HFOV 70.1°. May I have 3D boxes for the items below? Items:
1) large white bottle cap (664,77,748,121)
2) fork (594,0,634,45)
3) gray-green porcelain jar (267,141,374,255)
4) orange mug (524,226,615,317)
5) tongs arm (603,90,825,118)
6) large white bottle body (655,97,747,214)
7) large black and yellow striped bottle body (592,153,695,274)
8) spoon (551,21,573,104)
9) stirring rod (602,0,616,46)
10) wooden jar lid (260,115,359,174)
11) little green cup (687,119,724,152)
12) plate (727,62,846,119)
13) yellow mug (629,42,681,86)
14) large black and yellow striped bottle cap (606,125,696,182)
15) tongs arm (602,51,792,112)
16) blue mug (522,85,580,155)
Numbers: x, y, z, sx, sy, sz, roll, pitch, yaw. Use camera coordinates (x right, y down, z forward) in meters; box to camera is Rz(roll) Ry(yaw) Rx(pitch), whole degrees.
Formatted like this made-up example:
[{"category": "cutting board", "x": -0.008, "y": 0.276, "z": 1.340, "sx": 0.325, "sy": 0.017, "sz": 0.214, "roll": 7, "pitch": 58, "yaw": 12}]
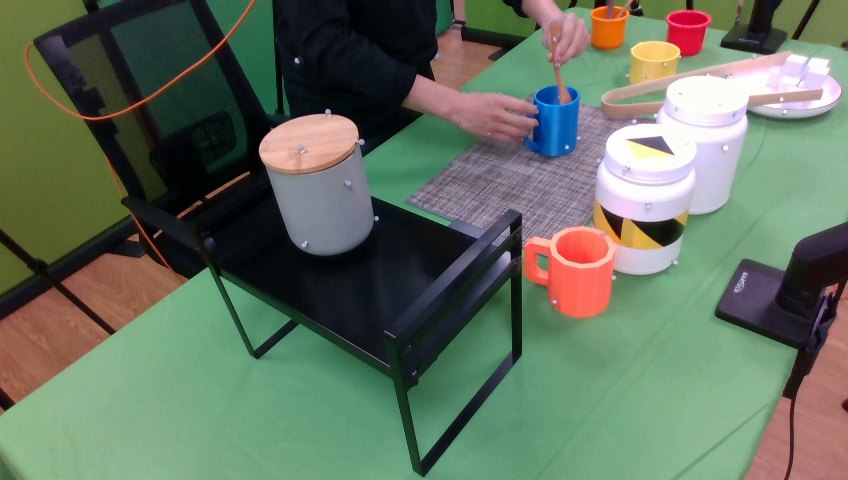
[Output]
[{"category": "large white bottle cap", "x": 0.421, "y": -0.212, "z": 0.905, "sx": 0.115, "sy": 0.018, "sz": 0.114, "roll": -4, "pitch": 40, "yaw": 4}, {"category": "fork", "x": 0.484, "y": -0.552, "z": 1.447, "sx": 0.207, "sy": 0.019, "sz": 0.028, "roll": -51, "pitch": 47, "yaw": 17}, {"category": "gray-green porcelain jar", "x": -0.117, "y": -0.054, "z": 0.703, "sx": 0.106, "sy": 0.127, "sz": 0.105, "roll": -4, "pitch": 40, "yaw": 4}, {"category": "orange mug", "x": 0.201, "y": 0.039, "z": 0.845, "sx": 0.125, "sy": 0.101, "sz": 0.083, "roll": 18, "pitch": 46, "yaw": 21}, {"category": "tongs arm", "x": 0.546, "y": -0.262, "z": 1.163, "sx": 0.386, "sy": 0.028, "sz": 0.028, "roll": -1, "pitch": 49, "yaw": 18}, {"category": "large white bottle body", "x": 0.431, "y": -0.148, "z": 0.959, "sx": 0.130, "sy": 0.185, "sz": 0.130, "roll": -4, "pitch": 41, "yaw": 4}, {"category": "large black and yellow striped bottle body", "x": 0.313, "y": -0.056, "z": 0.872, "sx": 0.131, "sy": 0.185, "sz": 0.130, "roll": -4, "pitch": 41, "yaw": 4}, {"category": "spoon", "x": 0.240, "y": -0.291, "z": 1.069, "sx": 0.042, "sy": 0.195, "sz": 0.021, "roll": -39, "pitch": 38, "yaw": -23}, {"category": "stirring rod", "x": 0.452, "y": -0.554, "z": 1.464, "sx": 0.014, "sy": 0.006, "sz": 0.176, "roll": 11, "pitch": 86, "yaw": 15}, {"category": "wooden jar lid", "x": -0.124, "y": -0.101, "z": 0.662, "sx": 0.108, "sy": 0.021, "sz": 0.108, "roll": -4, "pitch": 41, "yaw": 4}, {"category": "little green cup", "x": 0.514, "y": -0.191, "z": 1.109, "sx": 0.061, "sy": 0.039, "sz": 0.061, "roll": -5, "pitch": 40, "yaw": 5}, {"category": "plate", "x": 0.709, "y": -0.292, "z": 1.197, "sx": 0.207, "sy": 0.039, "sz": 0.206, "roll": -4, "pitch": 40, "yaw": 4}, {"category": "yellow mug", "x": 0.495, "y": -0.389, "z": 1.321, "sx": 0.100, "sy": 0.064, "sz": 0.130, "roll": -14, "pitch": 40, "yaw": -6}, {"category": "large black and yellow striped bottle cap", "x": 0.305, "y": -0.119, "z": 0.816, "sx": 0.115, "sy": 0.019, "sz": 0.114, "roll": -5, "pitch": 41, "yaw": 5}, {"category": "tongs arm", "x": 0.552, "y": -0.320, "z": 1.224, "sx": 0.384, "sy": 0.027, "sz": 0.050, "roll": -10, "pitch": 43, "yaw": 7}, {"category": "blue mug", "x": 0.233, "y": -0.218, "z": 1.127, "sx": 0.117, "sy": 0.106, "sz": 0.081, "roll": -23, "pitch": 43, "yaw": -16}]
